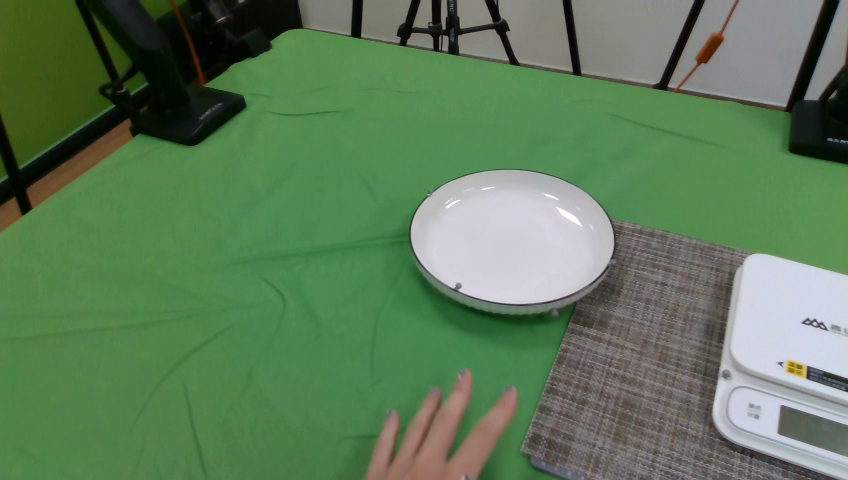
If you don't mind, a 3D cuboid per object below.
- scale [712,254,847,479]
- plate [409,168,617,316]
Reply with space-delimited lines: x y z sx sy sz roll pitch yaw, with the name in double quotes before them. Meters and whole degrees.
"scale" 0.329 0.099 0.500 0.148 0.032 0.200 16 47 21
"plate" 0.089 0.001 0.625 0.209 0.038 0.207 -2 43 2
